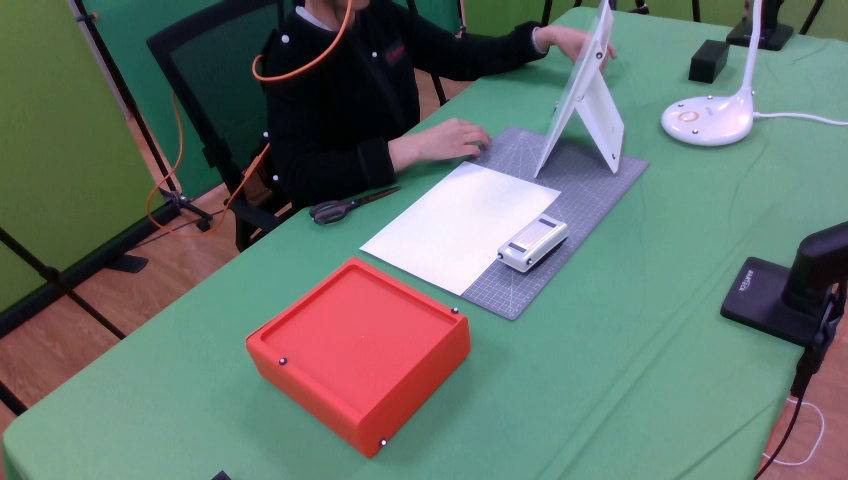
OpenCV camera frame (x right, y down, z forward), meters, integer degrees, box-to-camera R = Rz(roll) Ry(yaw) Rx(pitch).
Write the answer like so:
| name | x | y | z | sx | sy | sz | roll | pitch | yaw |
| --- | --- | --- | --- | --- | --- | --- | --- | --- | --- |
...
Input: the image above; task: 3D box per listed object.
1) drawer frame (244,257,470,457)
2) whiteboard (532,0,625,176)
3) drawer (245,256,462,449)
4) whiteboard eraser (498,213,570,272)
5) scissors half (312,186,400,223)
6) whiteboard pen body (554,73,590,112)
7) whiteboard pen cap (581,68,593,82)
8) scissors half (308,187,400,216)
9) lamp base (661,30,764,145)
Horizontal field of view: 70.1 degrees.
| name | x | y | z | sx | sy | sz | roll | pitch | yaw |
| --- | --- | --- | --- | --- | --- | --- | --- | --- | --- |
| drawer frame | -0.084 | 0.138 | 0.788 | 0.212 | 0.083 | 0.202 | 25 | 50 | 33 |
| whiteboard | 0.320 | -0.258 | 1.050 | 0.144 | 0.306 | 0.217 | 21 | 45 | 5 |
| drawer | -0.089 | 0.136 | 0.792 | 0.210 | 0.073 | 0.195 | 26 | 51 | 34 |
| whiteboard eraser | 0.168 | 0.006 | 0.923 | 0.113 | 0.042 | 0.055 | -36 | 48 | -28 |
| scissors half | -0.118 | -0.066 | 1.088 | 0.176 | 0.013 | 0.040 | -26 | 38 | -24 |
| whiteboard pen body | 0.315 | -0.314 | 1.278 | 0.017 | 0.017 | 0.141 | 24 | 58 | 33 |
| whiteboard pen cap | 0.351 | -0.355 | 1.303 | 0.018 | 0.018 | 0.033 | 19 | 55 | 29 |
| scissors half | -0.126 | -0.075 | 1.105 | 0.176 | 0.013 | 0.039 | -15 | 29 | -10 |
| lamp base | 0.535 | -0.287 | 1.096 | 0.179 | 0.181 | 0.159 | -10 | 40 | -4 |
